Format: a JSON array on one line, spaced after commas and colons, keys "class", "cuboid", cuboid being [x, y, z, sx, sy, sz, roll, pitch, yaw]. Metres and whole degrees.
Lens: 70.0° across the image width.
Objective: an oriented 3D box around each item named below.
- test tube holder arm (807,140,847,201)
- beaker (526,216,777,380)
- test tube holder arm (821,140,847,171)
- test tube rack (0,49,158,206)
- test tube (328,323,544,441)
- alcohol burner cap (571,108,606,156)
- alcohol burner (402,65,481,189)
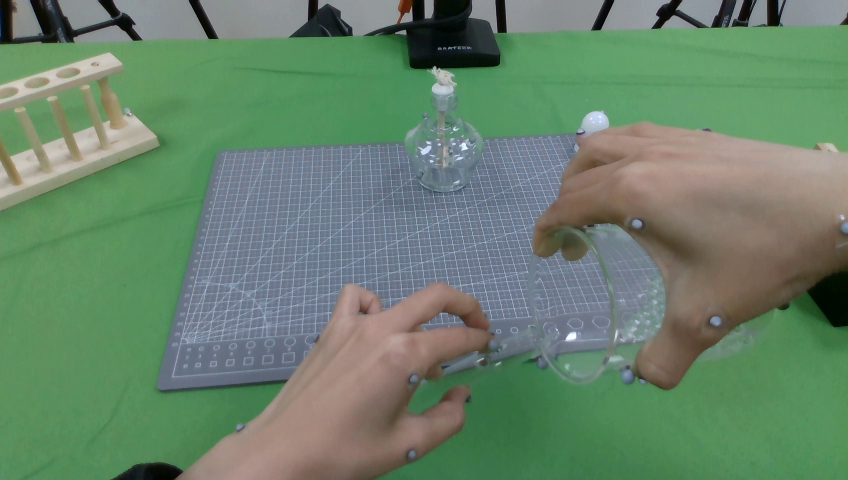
[{"class": "test tube holder arm", "cuboid": [0.367, -0.059, 0.538, 0.010, 0.015, 0.087, -6, 44, 4]}, {"class": "beaker", "cuboid": [0.111, 0.027, 0.301, 0.100, 0.084, 0.073, -4, 59, -18]}, {"class": "test tube holder arm", "cuboid": [0.374, -0.028, 0.506, 0.013, 0.015, 0.176, -7, 43, 3]}, {"class": "test tube rack", "cuboid": [-0.396, -0.096, 0.580, 0.242, 0.086, 0.066, -32, 53, -30]}, {"class": "test tube", "cuboid": [0.001, 0.084, 0.347, 0.150, 0.017, 0.017, -31, 37, 24]}, {"class": "alcohol burner cap", "cuboid": [0.176, -0.117, 0.643, 0.034, 0.048, 0.033, 1, 44, 0]}, {"class": "alcohol burner", "cuboid": [0.016, -0.109, 0.579, 0.078, 0.120, 0.077, -1, 42, 1]}]
